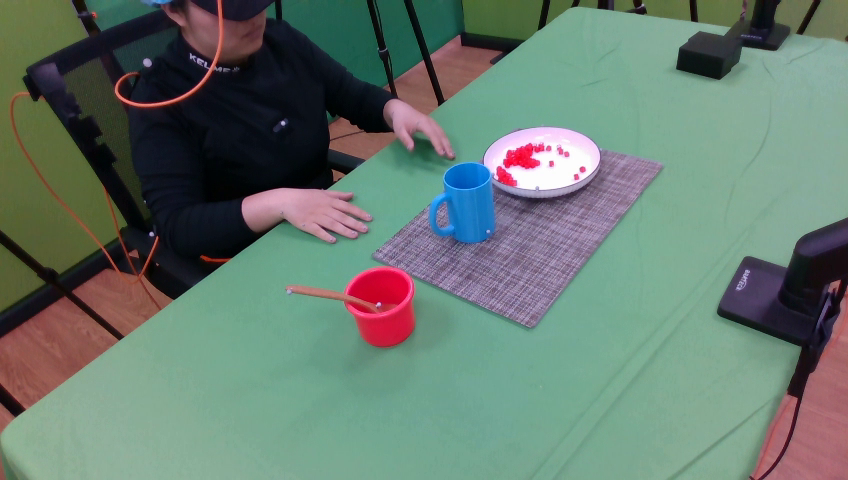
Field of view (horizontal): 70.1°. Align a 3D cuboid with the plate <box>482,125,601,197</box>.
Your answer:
[{"bbox_3d":[0.210,-0.138,1.091,0.207,0.039,0.206,-5,40,5],"label":"plate"}]

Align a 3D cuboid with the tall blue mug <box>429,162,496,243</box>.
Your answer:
[{"bbox_3d":[0.066,-0.051,0.960,0.077,0.108,0.107,17,47,27],"label":"tall blue mug"}]

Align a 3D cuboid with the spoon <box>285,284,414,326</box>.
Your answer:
[{"bbox_3d":[-0.096,0.083,0.812,0.195,0.021,0.041,22,31,-34],"label":"spoon"}]
